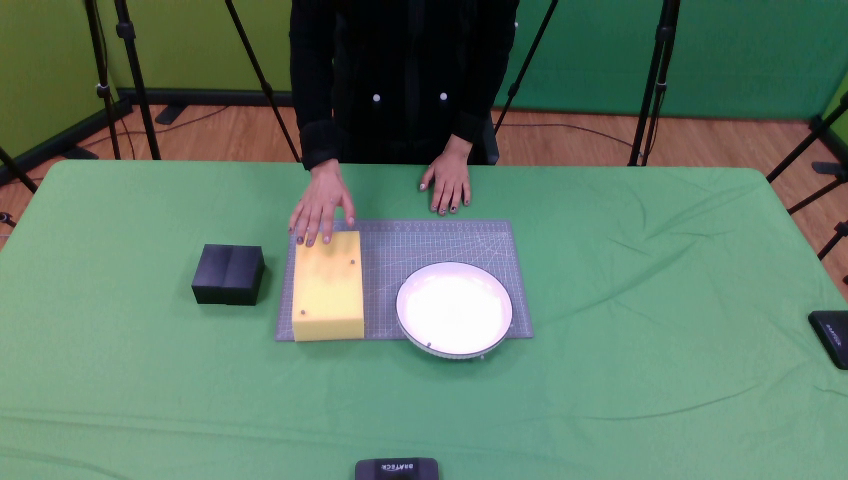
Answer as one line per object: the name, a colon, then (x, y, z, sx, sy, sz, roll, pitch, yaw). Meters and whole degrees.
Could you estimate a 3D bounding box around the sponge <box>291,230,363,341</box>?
sponge: (-0.171, 0.077, 1.081, 0.118, 0.061, 0.205, -3, 47, -6)

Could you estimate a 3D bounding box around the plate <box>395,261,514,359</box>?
plate: (0.052, 0.124, 1.066, 0.209, 0.038, 0.208, 2, 46, -2)
